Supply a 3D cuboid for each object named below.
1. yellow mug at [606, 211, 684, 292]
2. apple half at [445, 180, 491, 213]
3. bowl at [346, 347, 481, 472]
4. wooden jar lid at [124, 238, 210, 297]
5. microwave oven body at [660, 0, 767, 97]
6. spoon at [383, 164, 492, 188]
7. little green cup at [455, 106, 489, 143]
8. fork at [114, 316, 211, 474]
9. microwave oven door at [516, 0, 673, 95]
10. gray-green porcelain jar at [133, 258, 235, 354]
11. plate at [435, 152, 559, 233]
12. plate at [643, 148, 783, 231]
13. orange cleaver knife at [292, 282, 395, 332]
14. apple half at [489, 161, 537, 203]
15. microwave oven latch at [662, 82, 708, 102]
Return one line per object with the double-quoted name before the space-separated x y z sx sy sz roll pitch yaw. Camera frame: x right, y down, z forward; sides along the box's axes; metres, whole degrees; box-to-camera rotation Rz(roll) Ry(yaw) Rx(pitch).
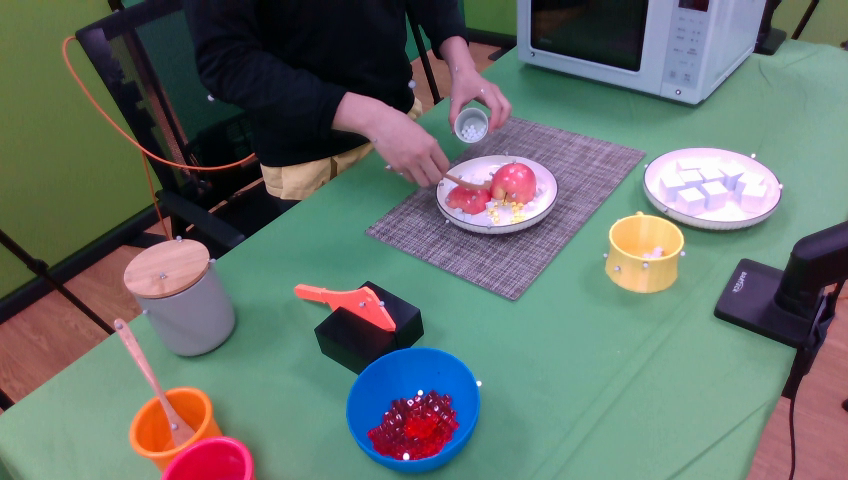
"yellow mug" 0.318 0.008 0.883 0.100 0.064 0.130 0 41 8
"apple half" 0.077 -0.083 1.029 0.081 0.033 0.081 -1 42 1
"bowl" -0.008 0.205 0.691 0.151 0.077 0.150 -4 40 4
"wooden jar lid" -0.335 0.039 0.794 0.108 0.021 0.108 -2 40 2
"microwave oven body" 0.474 -0.516 1.313 0.438 0.261 0.327 26 51 34
"spoon" 0.023 -0.104 0.951 0.195 0.021 0.041 9 5 -29
"little green cup" 0.085 -0.200 1.061 0.061 0.039 0.061 -1 83 8
"fork" -0.309 0.179 0.708 0.028 0.018 0.207 -30 89 -23
"microwave oven door" 0.344 -0.458 1.256 0.353 0.245 0.039 26 51 33
"gray-green porcelain jar" -0.328 0.086 0.836 0.106 0.127 0.105 -4 41 4
"plate" 0.124 -0.078 1.026 0.209 0.038 0.208 -4 40 4
"plate" 0.464 -0.080 0.986 0.207 0.039 0.206 -4 41 4
"orange cleaver knife" -0.116 0.091 0.835 0.209 0.077 0.012 2 32 48
"apple half" 0.154 -0.106 1.030 0.080 0.053 0.075 22 46 30
"microwave oven latch" 0.518 -0.298 1.202 0.078 0.029 0.030 28 53 35
